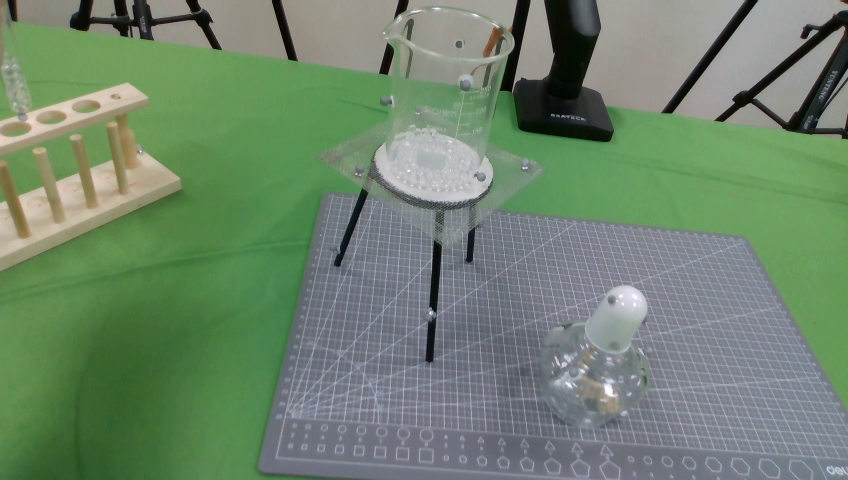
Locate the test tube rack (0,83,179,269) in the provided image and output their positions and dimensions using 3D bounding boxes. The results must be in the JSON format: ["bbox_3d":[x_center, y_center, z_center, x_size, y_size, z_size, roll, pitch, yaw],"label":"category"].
[{"bbox_3d":[-0.330,-0.042,0.490,0.066,0.086,0.242,33,46,24],"label":"test tube rack"}]

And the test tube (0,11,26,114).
[{"bbox_3d":[-0.287,-0.150,0.396,0.017,0.151,0.017,8,41,-7],"label":"test tube"}]

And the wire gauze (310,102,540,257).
[{"bbox_3d":[0.003,-0.054,0.432,0.124,0.011,0.121,36,50,21],"label":"wire gauze"}]

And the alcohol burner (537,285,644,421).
[{"bbox_3d":[0.122,0.074,0.427,0.078,0.120,0.077,7,40,-6],"label":"alcohol burner"}]

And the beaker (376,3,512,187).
[{"bbox_3d":[0.007,-0.092,0.401,0.084,0.101,0.073,2,43,-9],"label":"beaker"}]

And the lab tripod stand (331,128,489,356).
[{"bbox_3d":[-0.003,-0.006,0.476,0.149,0.132,0.147,7,42,-6],"label":"lab tripod stand"}]

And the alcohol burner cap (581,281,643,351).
[{"bbox_3d":[0.128,0.048,0.402,0.034,0.048,0.033,5,46,-5],"label":"alcohol burner cap"}]
